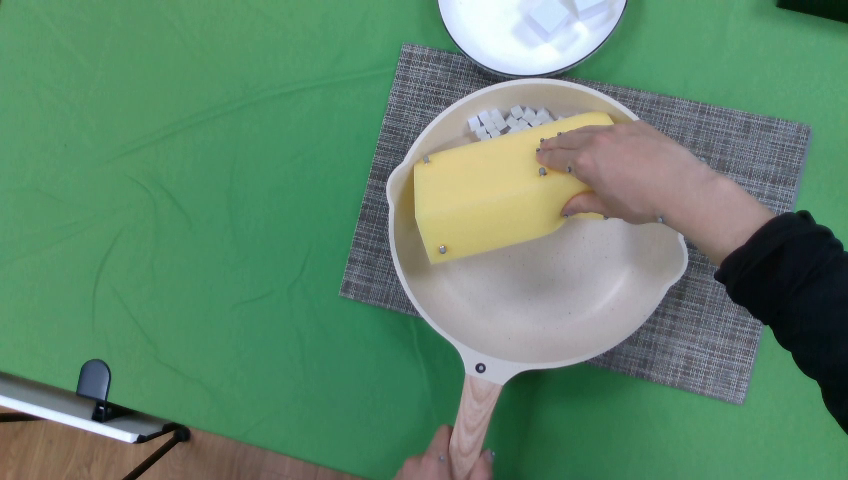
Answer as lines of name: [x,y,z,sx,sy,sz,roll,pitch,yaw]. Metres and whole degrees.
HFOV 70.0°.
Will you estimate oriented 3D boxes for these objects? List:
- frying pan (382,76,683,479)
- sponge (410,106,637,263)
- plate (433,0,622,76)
frying pan: [0.075,0.080,0.619,0.306,0.103,0.486,17,82,9]
sponge: [0.092,-0.059,0.608,0.207,0.117,0.061,-15,125,6]
plate: [0.113,-0.280,0.666,0.207,0.039,0.207,0,88,8]
